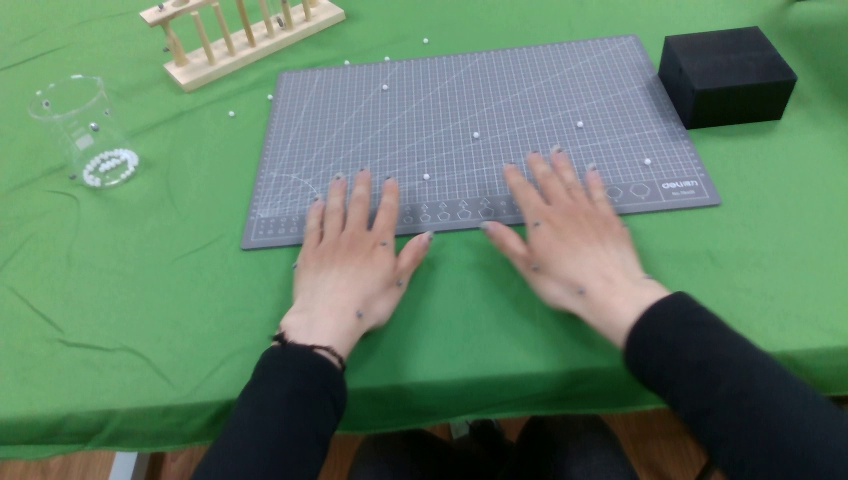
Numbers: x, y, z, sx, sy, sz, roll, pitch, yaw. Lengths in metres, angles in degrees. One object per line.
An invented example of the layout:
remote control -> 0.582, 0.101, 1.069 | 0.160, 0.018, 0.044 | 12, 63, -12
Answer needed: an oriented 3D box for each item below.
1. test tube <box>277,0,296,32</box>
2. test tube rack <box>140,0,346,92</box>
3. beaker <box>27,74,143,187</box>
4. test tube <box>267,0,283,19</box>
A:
test tube -> -0.186, -0.335, 0.763 | 0.017, 0.152, 0.017 | -3, 47, 3
test tube rack -> -0.228, -0.293, 0.791 | 0.242, 0.086, 0.066 | -33, 53, -21
beaker -> -0.350, -0.114, 0.640 | 0.073, 0.101, 0.083 | 16, 52, 20
test tube -> -0.211, -0.358, 0.780 | 0.017, 0.152, 0.017 | -6, 46, 6
